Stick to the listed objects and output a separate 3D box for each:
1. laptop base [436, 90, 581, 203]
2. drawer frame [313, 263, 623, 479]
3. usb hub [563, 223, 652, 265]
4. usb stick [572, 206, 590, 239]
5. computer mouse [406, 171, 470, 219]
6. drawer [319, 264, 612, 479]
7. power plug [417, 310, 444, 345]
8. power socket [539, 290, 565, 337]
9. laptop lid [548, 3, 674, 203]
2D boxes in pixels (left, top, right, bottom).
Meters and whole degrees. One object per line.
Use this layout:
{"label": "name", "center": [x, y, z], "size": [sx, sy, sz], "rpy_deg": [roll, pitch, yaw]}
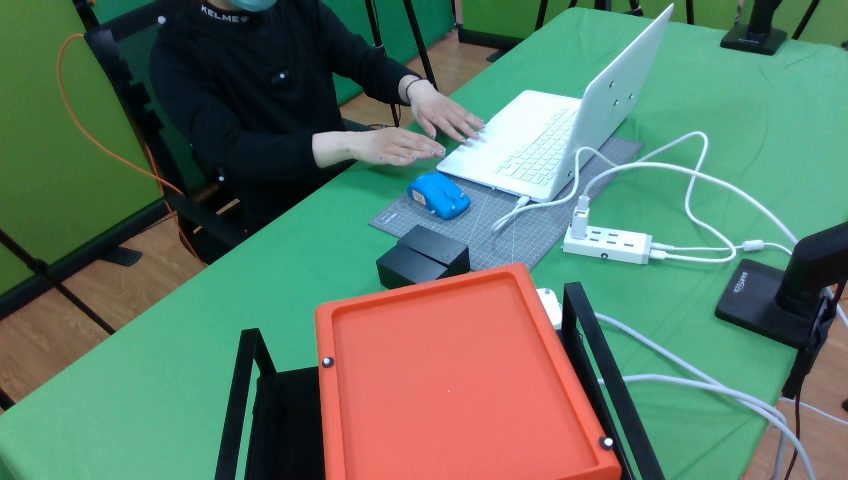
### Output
{"label": "laptop base", "center": [0.214, -0.192, 1.172], "size": [0.233, 0.023, 0.355], "rpy_deg": [19, 46, 32]}
{"label": "drawer frame", "center": [0.021, 0.130, 0.493], "size": [0.202, 0.083, 0.212], "rpy_deg": [-11, 41, -6]}
{"label": "usb hub", "center": [0.281, 0.005, 0.925], "size": [0.124, 0.025, 0.049], "rpy_deg": [10, 43, 19]}
{"label": "usb stick", "center": [0.237, -0.021, 0.916], "size": [0.021, 0.059, 0.027], "rpy_deg": [9, 41, 17]}
{"label": "computer mouse", "center": [0.024, -0.082, 1.049], "size": [0.063, 0.041, 0.116], "rpy_deg": [-30, 50, -27]}
{"label": "drawer", "center": [0.020, 0.129, 0.497], "size": [0.195, 0.073, 0.210], "rpy_deg": [-11, 41, -5]}
{"label": "power plug", "center": [0.007, 0.122, 0.786], "size": [0.035, 0.053, 0.072], "rpy_deg": [0, 39, 7]}
{"label": "power socket", "center": [0.081, 0.112, 0.822], "size": [0.227, 0.033, 0.072], "rpy_deg": [-6, 41, 0]}
{"label": "laptop lid", "center": [0.320, -0.235, 1.026], "size": [0.013, 0.242, 0.357], "rpy_deg": [31, 50, 20]}
